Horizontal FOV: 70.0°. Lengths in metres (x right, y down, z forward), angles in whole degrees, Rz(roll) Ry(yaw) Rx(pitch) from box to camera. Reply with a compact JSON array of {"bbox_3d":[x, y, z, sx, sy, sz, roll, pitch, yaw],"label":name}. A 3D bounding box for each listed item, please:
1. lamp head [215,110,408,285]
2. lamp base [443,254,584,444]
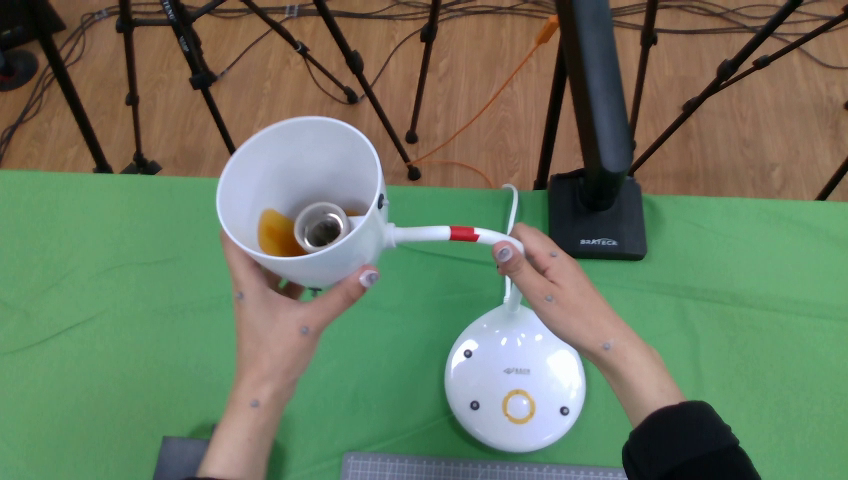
[{"bbox_3d":[-0.072,-0.017,0.445,0.112,0.124,0.111,-5,65,11],"label":"lamp head"},{"bbox_3d":[0.097,0.105,0.633,0.161,0.182,0.177,-9,60,-2],"label":"lamp base"}]
